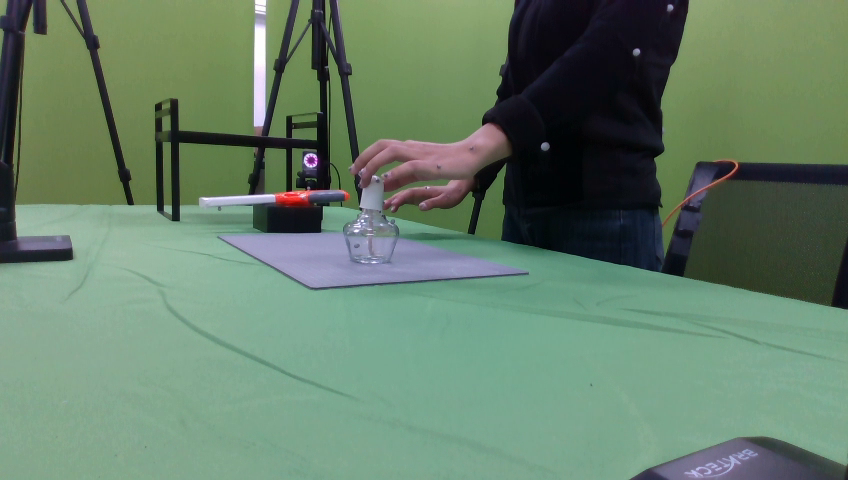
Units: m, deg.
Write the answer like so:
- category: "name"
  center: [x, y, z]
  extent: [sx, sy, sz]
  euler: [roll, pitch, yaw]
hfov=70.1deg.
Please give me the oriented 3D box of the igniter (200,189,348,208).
- category: "igniter"
  center: [-0.275, -0.079, 1.142]
  extent: [0.278, 0.025, 0.057]
  euler: [-6, 11, -32]

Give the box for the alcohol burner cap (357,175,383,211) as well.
- category: "alcohol burner cap"
  center: [-0.071, -0.064, 0.814]
  extent: [0.034, 0.048, 0.034]
  euler: [11, 8, -1]

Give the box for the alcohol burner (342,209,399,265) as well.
- category: "alcohol burner"
  center: [-0.073, -0.027, 0.818]
  extent: [0.078, 0.119, 0.078]
  euler: [1, 6, 0]
